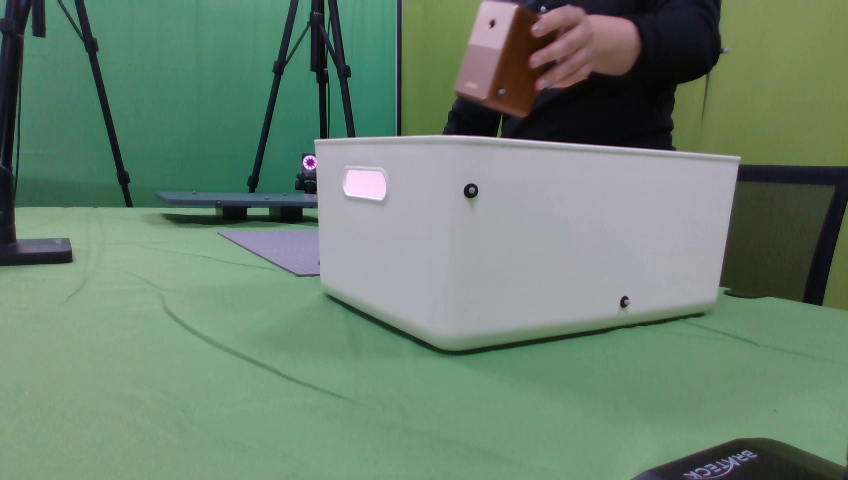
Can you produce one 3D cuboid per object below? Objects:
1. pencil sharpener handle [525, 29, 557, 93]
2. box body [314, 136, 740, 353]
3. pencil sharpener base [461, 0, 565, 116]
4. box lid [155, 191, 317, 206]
[{"bbox_3d":[0.139,-0.205,0.697,0.031,0.067,0.036,9,21,-41],"label":"pencil sharpener handle"},{"bbox_3d":[0.098,-0.012,0.606,0.366,0.160,0.253,-2,8,-33],"label":"box body"},{"bbox_3d":[0.098,-0.198,0.664,0.077,0.107,0.061,9,14,-41],"label":"pencil sharpener base"},{"bbox_3d":[-0.387,-0.091,1.340,0.373,0.015,0.262,-1,8,-30],"label":"box lid"}]
